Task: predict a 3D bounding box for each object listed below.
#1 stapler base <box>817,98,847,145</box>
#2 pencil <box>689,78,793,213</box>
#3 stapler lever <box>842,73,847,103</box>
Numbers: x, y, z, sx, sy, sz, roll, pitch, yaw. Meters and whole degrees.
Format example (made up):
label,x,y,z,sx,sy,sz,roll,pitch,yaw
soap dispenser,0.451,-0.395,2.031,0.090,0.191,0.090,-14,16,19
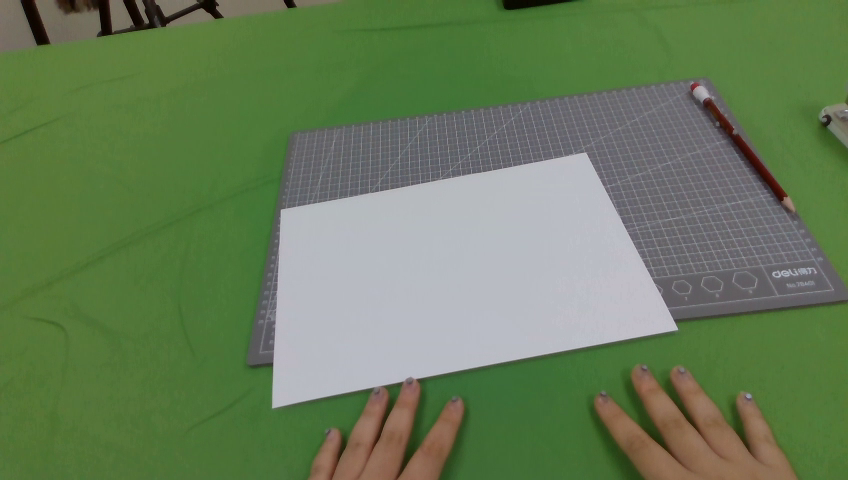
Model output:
label,x,y,z,sx,sy,sz,roll,pitch,yaw
stapler base,0.400,-0.090,0.531,0.041,0.025,0.129,-12,48,2
pencil,0.288,-0.093,0.557,0.012,0.012,0.192,-10,48,0
stapler lever,0.397,-0.106,0.511,0.027,0.040,0.117,-12,49,2
